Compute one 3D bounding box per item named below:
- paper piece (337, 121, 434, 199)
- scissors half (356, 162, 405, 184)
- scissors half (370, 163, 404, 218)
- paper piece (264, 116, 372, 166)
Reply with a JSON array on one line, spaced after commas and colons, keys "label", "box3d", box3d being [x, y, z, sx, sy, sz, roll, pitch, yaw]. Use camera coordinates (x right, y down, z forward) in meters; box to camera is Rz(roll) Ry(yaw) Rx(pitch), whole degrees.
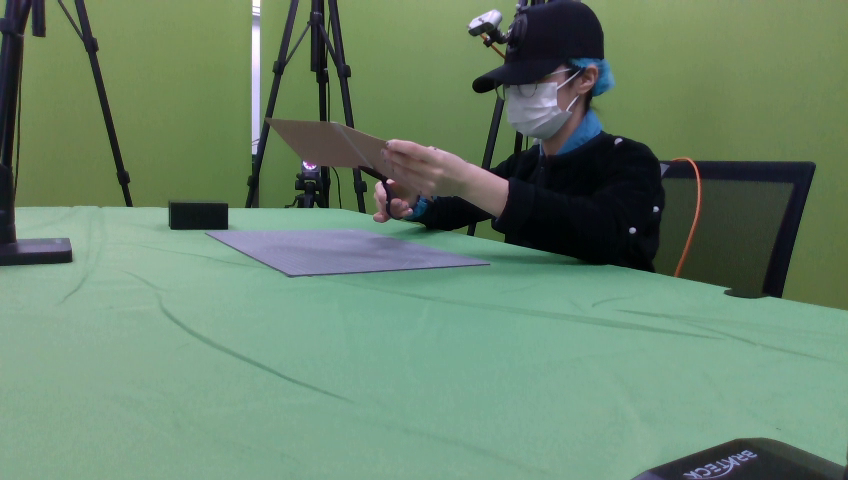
[{"label": "paper piece", "box3d": [-0.057, -0.120, 0.906, 0.137, 0.008, 0.136, 29, -10, 31]}, {"label": "scissors half", "box3d": [-0.063, -0.119, 1.033, 0.013, 0.040, 0.176, 9, 5, 31]}, {"label": "scissors half", "box3d": [-0.072, -0.096, 1.028, 0.012, 0.176, 0.040, 14, 57, 31]}, {"label": "paper piece", "box3d": [-0.167, -0.157, 0.968, 0.135, 0.004, 0.136, 7, -21, 25]}]
